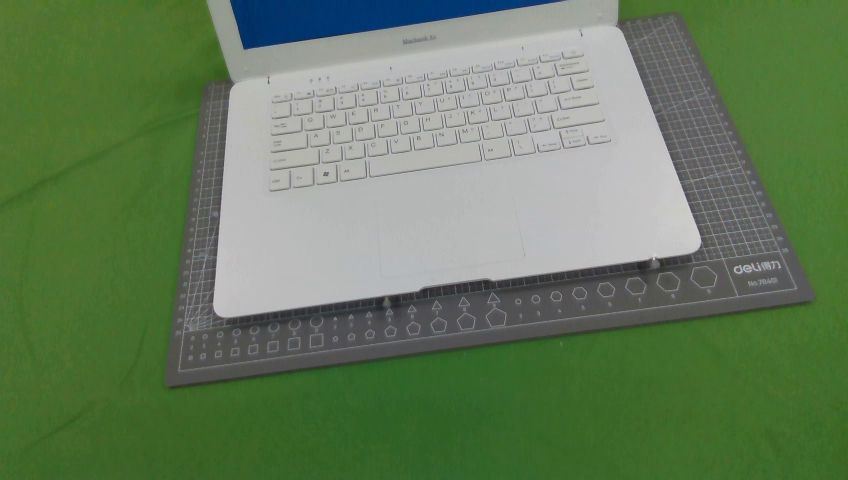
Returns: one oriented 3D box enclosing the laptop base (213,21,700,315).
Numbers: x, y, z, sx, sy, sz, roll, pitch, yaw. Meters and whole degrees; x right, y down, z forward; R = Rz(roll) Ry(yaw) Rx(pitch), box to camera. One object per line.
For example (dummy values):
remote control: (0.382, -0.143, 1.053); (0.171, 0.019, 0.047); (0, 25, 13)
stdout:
laptop base: (0.011, -0.067, 0.491); (0.354, 0.023, 0.233); (-8, 63, 2)

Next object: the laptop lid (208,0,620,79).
laptop lid: (-0.016, -0.264, 0.488); (0.357, 0.244, 0.013); (-9, 32, 2)
